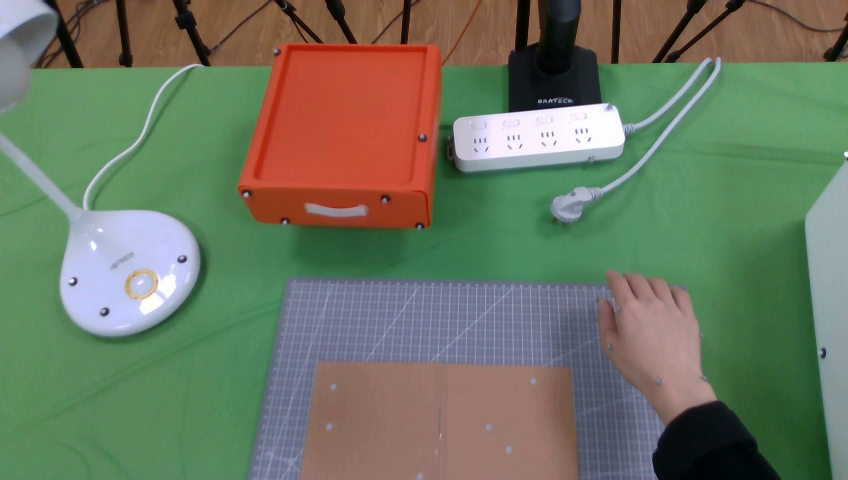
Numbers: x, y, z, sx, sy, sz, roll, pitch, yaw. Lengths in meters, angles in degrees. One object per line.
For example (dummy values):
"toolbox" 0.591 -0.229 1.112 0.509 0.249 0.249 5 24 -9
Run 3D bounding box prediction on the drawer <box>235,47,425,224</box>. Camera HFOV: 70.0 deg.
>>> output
"drawer" -0.090 -0.124 0.694 0.194 0.074 0.210 2 60 6

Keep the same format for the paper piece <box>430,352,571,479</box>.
"paper piece" 0.077 0.180 0.603 0.135 0.004 0.134 3 62 6

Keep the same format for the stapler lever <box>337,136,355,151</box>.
"stapler lever" -0.115 -0.111 0.679 0.117 0.040 0.027 29 83 23

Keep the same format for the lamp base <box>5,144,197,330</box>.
"lamp base" -0.361 -0.014 0.644 0.178 0.182 0.160 31 67 22

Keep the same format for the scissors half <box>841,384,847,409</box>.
"scissors half" 0.473 0.112 0.609 0.040 0.013 0.175 42 69 13

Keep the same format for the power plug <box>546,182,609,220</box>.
"power plug" 0.178 -0.042 0.706 0.073 0.053 0.035 3 56 -17

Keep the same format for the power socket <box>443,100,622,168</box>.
"power socket" 0.136 -0.134 0.762 0.227 0.033 0.071 -4 62 1

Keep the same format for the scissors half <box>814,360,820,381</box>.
"scissors half" 0.461 0.098 0.616 0.175 0.013 0.039 -25 65 -15

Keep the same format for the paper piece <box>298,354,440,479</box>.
"paper piece" -0.053 0.181 0.613 0.136 0.009 0.137 -1 63 7

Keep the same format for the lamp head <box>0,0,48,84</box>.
"lamp head" -0.331 -0.150 0.386 0.124 0.112 0.112 40 65 -18

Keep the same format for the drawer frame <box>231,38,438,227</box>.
"drawer frame" -0.091 -0.126 0.695 0.201 0.083 0.212 1 60 5

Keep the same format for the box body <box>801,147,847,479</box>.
"box body" 0.509 0.084 0.541 0.254 0.162 0.361 8 62 8

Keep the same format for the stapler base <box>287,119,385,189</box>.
"stapler base" -0.106 -0.104 0.704 0.129 0.024 0.041 30 84 21
